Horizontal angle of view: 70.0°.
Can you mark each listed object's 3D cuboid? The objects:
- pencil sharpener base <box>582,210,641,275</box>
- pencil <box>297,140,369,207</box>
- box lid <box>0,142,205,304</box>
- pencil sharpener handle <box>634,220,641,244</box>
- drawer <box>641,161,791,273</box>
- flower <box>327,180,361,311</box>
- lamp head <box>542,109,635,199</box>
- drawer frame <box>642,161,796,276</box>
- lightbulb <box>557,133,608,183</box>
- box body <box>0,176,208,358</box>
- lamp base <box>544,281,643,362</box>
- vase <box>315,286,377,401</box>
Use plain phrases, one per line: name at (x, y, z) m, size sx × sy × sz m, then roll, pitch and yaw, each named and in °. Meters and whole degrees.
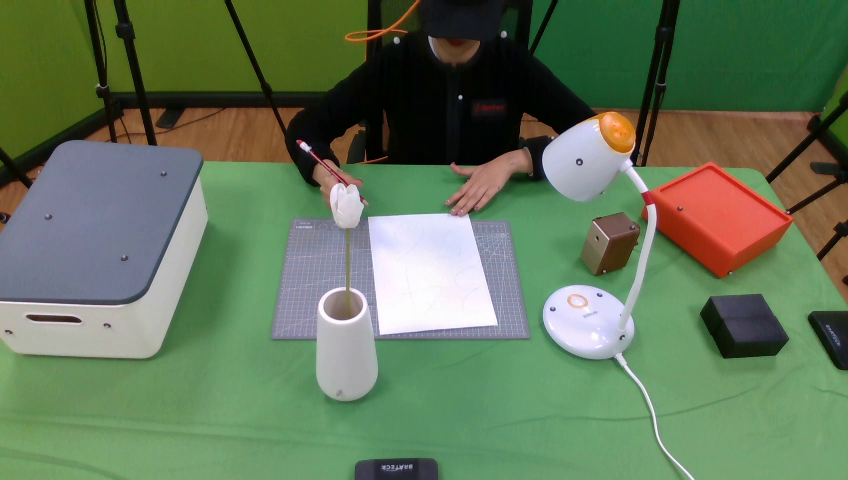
pencil sharpener base at (0.357, 0.005, 1.156) m, size 0.077 × 0.107 × 0.061 m, roll -15°, pitch 48°, yaw -18°
pencil at (-0.175, -0.128, 1.171) m, size 0.194 × 0.012 × 0.012 m, roll 43°, pitch 55°, yaw 6°
box lid at (-0.534, -0.044, 0.995) m, size 0.263 × 0.015 × 0.369 m, roll 3°, pitch 45°, yaw -3°
pencil sharpener handle at (0.405, -0.015, 1.162) m, size 0.031 × 0.068 × 0.035 m, roll -15°, pitch 45°, yaw -18°
drawer at (0.595, -0.051, 1.246) m, size 0.194 × 0.073 × 0.210 m, roll -23°, pitch 52°, yaw -25°
flower at (-0.111, 0.086, 0.867) m, size 0.044 × 0.363 × 0.038 m, roll 22°, pitch 33°, yaw 36°
lamp head at (0.253, -0.131, 0.893) m, size 0.113 × 0.123 × 0.112 m, roll 10°, pitch 66°, yaw -24°
drawer frame at (0.599, -0.051, 1.244) m, size 0.202 × 0.083 × 0.212 m, roll -24°, pitch 52°, yaw -25°
lightbulb at (0.243, -0.127, 0.917) m, size 0.060 × 0.108 × 0.059 m, roll 6°, pitch 67°, yaw -14°
box body at (-0.546, 0.017, 1.045) m, size 0.254 × 0.161 × 0.361 m, roll 2°, pitch 46°, yaw -2°
lamp base at (0.304, 0.095, 1.014) m, size 0.161 × 0.181 × 0.178 m, roll -24°, pitch 54°, yaw -24°
vase at (-0.119, 0.159, 0.911) m, size 0.098 × 0.201 × 0.097 m, roll 2°, pitch 47°, yaw -2°
